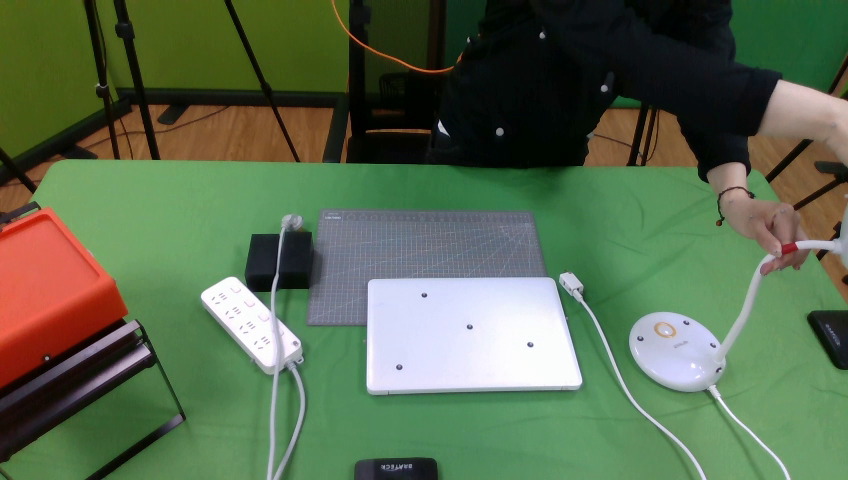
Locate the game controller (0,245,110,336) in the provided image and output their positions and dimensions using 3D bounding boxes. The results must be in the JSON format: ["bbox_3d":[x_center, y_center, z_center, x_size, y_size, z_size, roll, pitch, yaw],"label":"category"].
[{"bbox_3d":[-0.511,0.062,0.830,0.097,0.052,0.154,-30,58,-31],"label":"game controller"}]

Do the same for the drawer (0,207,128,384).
[{"bbox_3d":[-0.540,0.074,0.799,0.193,0.073,0.211,37,55,27],"label":"drawer"}]

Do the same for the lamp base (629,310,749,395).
[{"bbox_3d":[0.447,0.143,0.984,0.161,0.181,0.178,-24,55,-24],"label":"lamp base"}]

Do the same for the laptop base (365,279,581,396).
[{"bbox_3d":[0.077,0.162,1.053,0.355,0.023,0.234,0,44,-4],"label":"laptop base"}]

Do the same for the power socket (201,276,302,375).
[{"bbox_3d":[-0.296,0.142,1.034,0.072,0.033,0.225,-34,58,-31],"label":"power socket"}]

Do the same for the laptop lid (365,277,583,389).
[{"bbox_3d":[0.077,0.152,1.046,0.357,0.013,0.240,1,45,-3],"label":"laptop lid"}]

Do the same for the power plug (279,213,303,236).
[{"bbox_3d":[-0.263,-0.021,1.184,0.035,0.053,0.072,1,48,32],"label":"power plug"}]

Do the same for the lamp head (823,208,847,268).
[{"bbox_3d":[0.570,-0.005,0.750,0.112,0.123,0.111,0,48,1],"label":"lamp head"}]

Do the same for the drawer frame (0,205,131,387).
[{"bbox_3d":[-0.540,0.076,0.795,0.200,0.083,0.213,36,54,26],"label":"drawer frame"}]

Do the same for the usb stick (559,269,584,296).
[{"bbox_3d":[0.274,0.077,1.141,0.027,0.021,0.059,-10,40,-15],"label":"usb stick"}]
